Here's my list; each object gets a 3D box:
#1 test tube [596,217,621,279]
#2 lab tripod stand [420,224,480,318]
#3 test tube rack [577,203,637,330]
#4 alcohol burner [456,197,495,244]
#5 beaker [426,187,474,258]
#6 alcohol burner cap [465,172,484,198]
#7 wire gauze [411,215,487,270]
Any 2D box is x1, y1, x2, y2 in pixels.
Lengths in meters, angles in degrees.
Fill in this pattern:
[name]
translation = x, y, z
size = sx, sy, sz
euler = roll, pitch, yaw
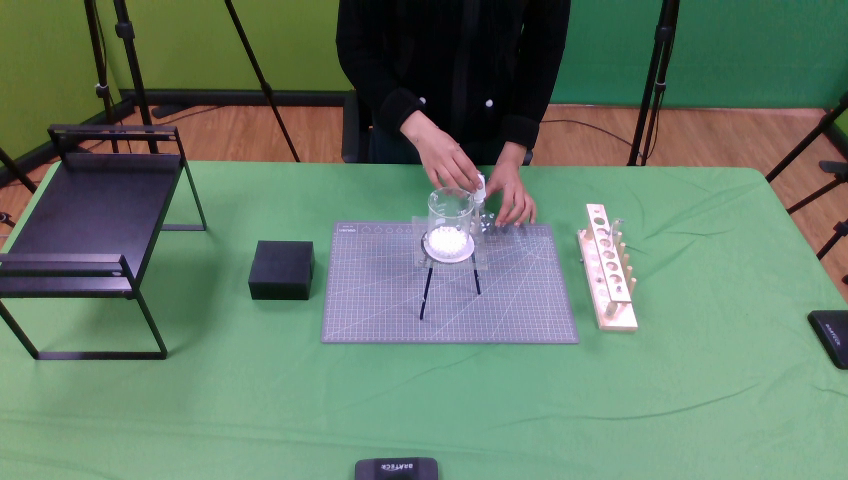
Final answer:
[test tube]
translation = 0.331, 0.018, 1.094
size = 0.017, 0.151, 0.017
euler = 0, 45, 0
[lab tripod stand]
translation = 0.034, 0.051, 1.071
size = 0.148, 0.132, 0.147
euler = 3, 48, -3
[test tube rack]
translation = 0.348, 0.045, 1.139
size = 0.067, 0.085, 0.241
euler = 2, 46, -2
[alcohol burner]
translation = 0.102, -0.050, 1.187
size = 0.078, 0.120, 0.077
euler = 1, 46, 0
[beaker]
translation = 0.043, -0.027, 0.989
size = 0.084, 0.101, 0.073
euler = -26, 53, -26
[alcohol burner cap]
translation = 0.096, -0.105, 1.132
size = 0.034, 0.048, 0.033
euler = 4, 34, -3
[wire gauze]
translation = 0.041, 0.003, 1.026
size = 0.125, 0.011, 0.120
euler = 0, 46, -1
